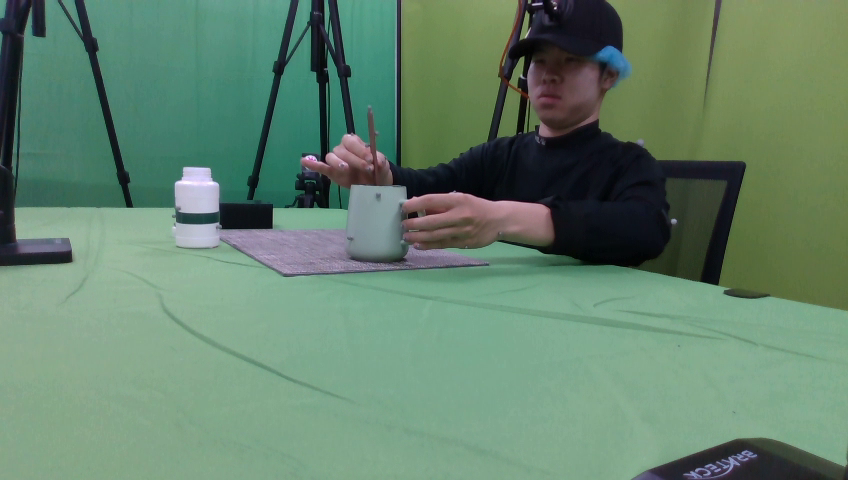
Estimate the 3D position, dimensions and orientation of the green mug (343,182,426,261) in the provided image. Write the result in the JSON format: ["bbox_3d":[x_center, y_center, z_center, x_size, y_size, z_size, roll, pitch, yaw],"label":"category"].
[{"bbox_3d":[-0.053,-0.026,0.847,0.125,0.105,0.093,6,8,29],"label":"green mug"}]

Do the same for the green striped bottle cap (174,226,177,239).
[{"bbox_3d":[-0.404,-0.015,1.036,0.044,0.020,0.044,-1,9,1],"label":"green striped bottle cap"}]

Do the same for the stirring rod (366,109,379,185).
[{"bbox_3d":[-0.070,-0.096,0.852,0.006,0.176,0.014,-7,3,-29],"label":"stirring rod"}]

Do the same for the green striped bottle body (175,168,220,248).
[{"bbox_3d":[-0.345,-0.050,0.924,0.063,0.119,0.063,2,7,0],"label":"green striped bottle body"}]
